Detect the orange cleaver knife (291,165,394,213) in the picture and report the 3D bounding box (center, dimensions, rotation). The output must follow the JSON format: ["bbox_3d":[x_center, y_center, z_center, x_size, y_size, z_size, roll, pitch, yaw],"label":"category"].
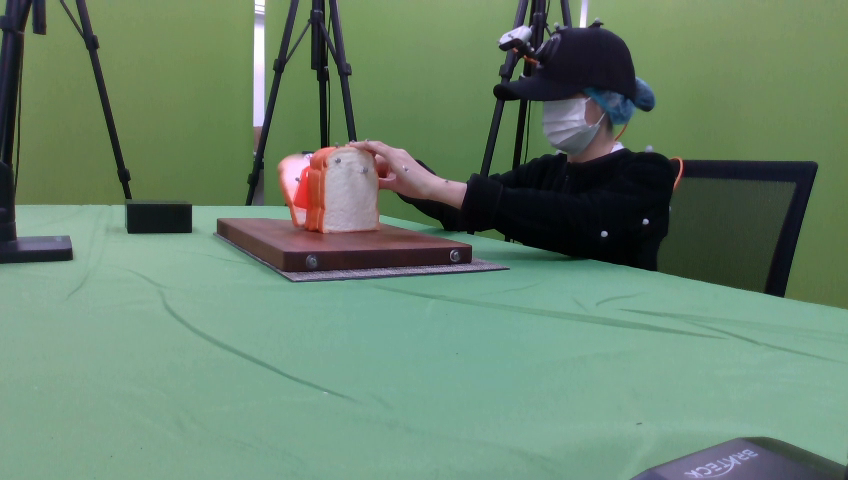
[{"bbox_3d":[-0.129,-0.079,0.993,0.012,0.077,0.212,13,10,40],"label":"orange cleaver knife"}]

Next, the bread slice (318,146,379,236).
[{"bbox_3d":[-0.116,-0.074,0.920,0.107,0.134,0.018,-11,14,-42],"label":"bread slice"}]

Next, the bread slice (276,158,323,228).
[{"bbox_3d":[-0.187,-0.075,0.984,0.105,0.131,0.019,0,-30,-48],"label":"bread slice"}]
